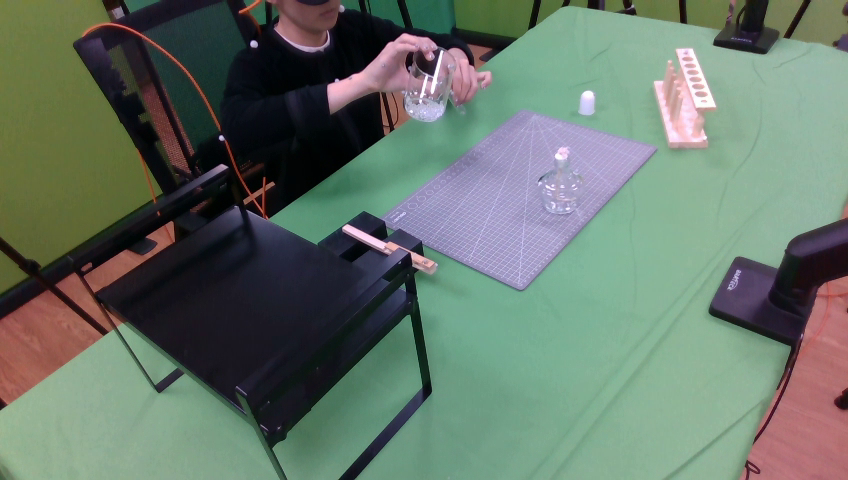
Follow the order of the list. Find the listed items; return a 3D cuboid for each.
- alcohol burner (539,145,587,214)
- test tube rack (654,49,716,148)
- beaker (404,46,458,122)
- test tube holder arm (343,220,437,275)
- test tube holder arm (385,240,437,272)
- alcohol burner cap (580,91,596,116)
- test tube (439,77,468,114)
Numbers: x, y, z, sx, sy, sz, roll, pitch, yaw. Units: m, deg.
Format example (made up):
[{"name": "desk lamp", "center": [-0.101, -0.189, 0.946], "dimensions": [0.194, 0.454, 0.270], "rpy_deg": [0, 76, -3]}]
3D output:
[{"name": "alcohol burner", "center": [0.226, -0.102, 0.986], "dimensions": [0.078, 0.119, 0.077], "rpy_deg": [-6, 41, 6]}, {"name": "test tube rack", "center": [0.502, -0.281, 1.176], "dimensions": [0.066, 0.085, 0.241], "rpy_deg": [2, 41, 11]}, {"name": "beaker", "center": [0.010, -0.249, 0.983], "dimensions": [0.073, 0.084, 0.100], "rpy_deg": [3, 64, 21]}, {"name": "test tube holder arm", "center": [-0.054, 0.009, 0.899], "dimensions": [0.177, 0.013, 0.015], "rpy_deg": [26, 58, 30]}, {"name": "test tube holder arm", "center": [-0.020, 0.022, 0.872], "dimensions": [0.087, 0.010, 0.015], "rpy_deg": [26, 58, 31]}, {"name": "alcohol burner cap", "center": [0.338, -0.283, 1.238], "dimensions": [0.034, 0.048, 0.033], "rpy_deg": [-4, 41, 4]}, {"name": "test tube", "center": [0.056, -0.261, 1.103], "dimensions": [0.017, 0.151, 0.017], "rpy_deg": [-3, 80, 18]}]
